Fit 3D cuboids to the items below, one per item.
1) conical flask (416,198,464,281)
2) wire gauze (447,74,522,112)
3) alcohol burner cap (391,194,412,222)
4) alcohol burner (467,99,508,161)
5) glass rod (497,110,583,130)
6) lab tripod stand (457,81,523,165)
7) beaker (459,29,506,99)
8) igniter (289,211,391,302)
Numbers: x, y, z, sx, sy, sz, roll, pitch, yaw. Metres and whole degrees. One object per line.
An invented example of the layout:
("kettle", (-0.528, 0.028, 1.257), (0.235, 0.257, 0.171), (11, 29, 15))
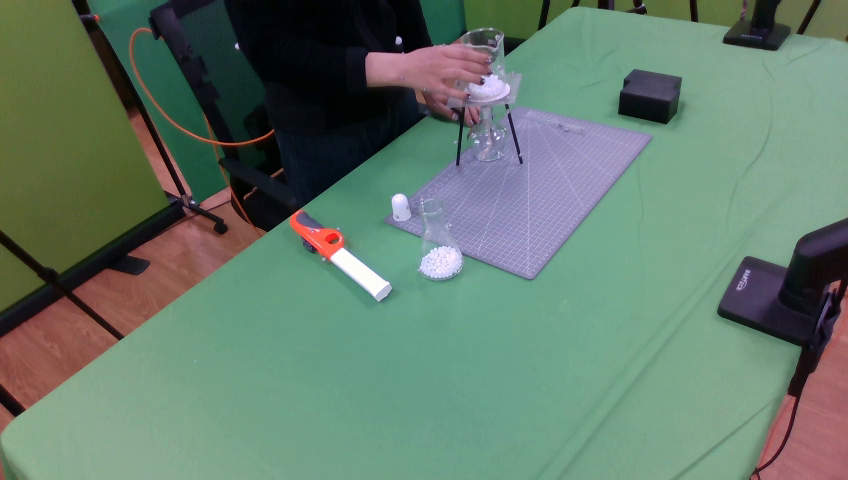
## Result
("conical flask", (0.019, -0.004, 0.907), (0.075, 0.122, 0.075), (-5, 40, 5))
("wire gauze", (0.110, -0.268, 1.087), (0.121, 0.011, 0.125), (1, 43, 15))
("alcohol burner cap", (-0.041, -0.057, 1.040), (0.034, 0.048, 0.033), (-6, 39, 5))
("alcohol burner", (0.119, -0.210, 1.134), (0.078, 0.119, 0.077), (-4, 39, 4))
("glass rod", (0.233, -0.245, 1.235), (0.198, 0.008, 0.008), (20, 49, 34))
("lab tripod stand", (0.120, -0.219, 1.130), (0.148, 0.132, 0.147), (-7, 39, 6))
("beaker", (0.107, -0.304, 1.055), (0.074, 0.101, 0.083), (-26, 43, -17))
("igniter", (-0.146, 0.019, 0.986), (0.057, 0.025, 0.274), (-40, 48, -17))
